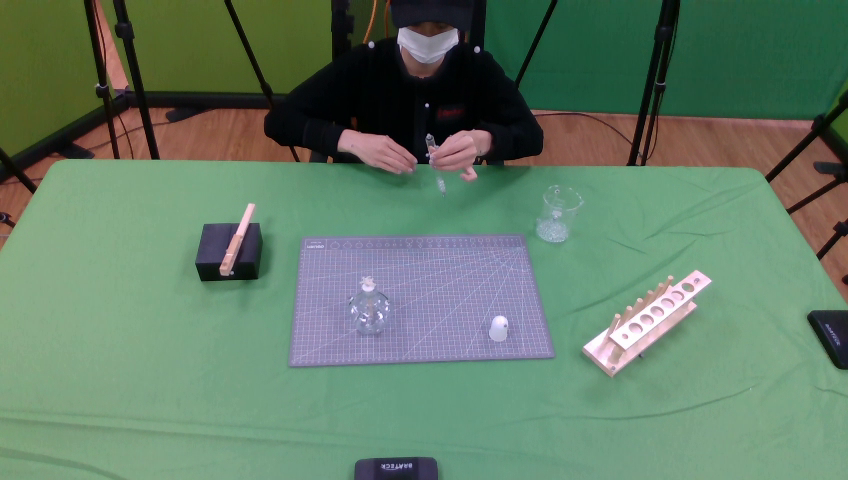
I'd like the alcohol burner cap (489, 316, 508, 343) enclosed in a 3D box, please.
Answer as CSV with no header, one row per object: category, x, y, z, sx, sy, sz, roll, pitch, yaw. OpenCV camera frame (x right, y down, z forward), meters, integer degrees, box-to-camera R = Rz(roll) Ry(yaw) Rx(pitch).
alcohol burner cap,0.130,0.151,1.045,0.034,0.048,0.033,2,46,-2

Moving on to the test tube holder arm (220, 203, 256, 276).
test tube holder arm,-0.340,-0.005,1.112,0.015,0.013,0.177,5,46,1

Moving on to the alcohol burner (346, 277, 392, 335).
alcohol burner,-0.093,0.106,1.021,0.078,0.120,0.077,1,46,-1

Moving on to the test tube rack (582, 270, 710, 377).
test tube rack,0.389,0.132,1.057,0.242,0.085,0.066,-28,53,-28

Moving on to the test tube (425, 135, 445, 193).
test tube,0.022,-0.140,1.150,0.017,0.151,0.017,-6,53,8

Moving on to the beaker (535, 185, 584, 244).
beaker,0.268,-0.048,1.213,0.084,0.101,0.073,6,46,0

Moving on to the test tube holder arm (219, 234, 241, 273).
test tube holder arm,-0.344,0.023,1.076,0.015,0.010,0.087,5,45,2
